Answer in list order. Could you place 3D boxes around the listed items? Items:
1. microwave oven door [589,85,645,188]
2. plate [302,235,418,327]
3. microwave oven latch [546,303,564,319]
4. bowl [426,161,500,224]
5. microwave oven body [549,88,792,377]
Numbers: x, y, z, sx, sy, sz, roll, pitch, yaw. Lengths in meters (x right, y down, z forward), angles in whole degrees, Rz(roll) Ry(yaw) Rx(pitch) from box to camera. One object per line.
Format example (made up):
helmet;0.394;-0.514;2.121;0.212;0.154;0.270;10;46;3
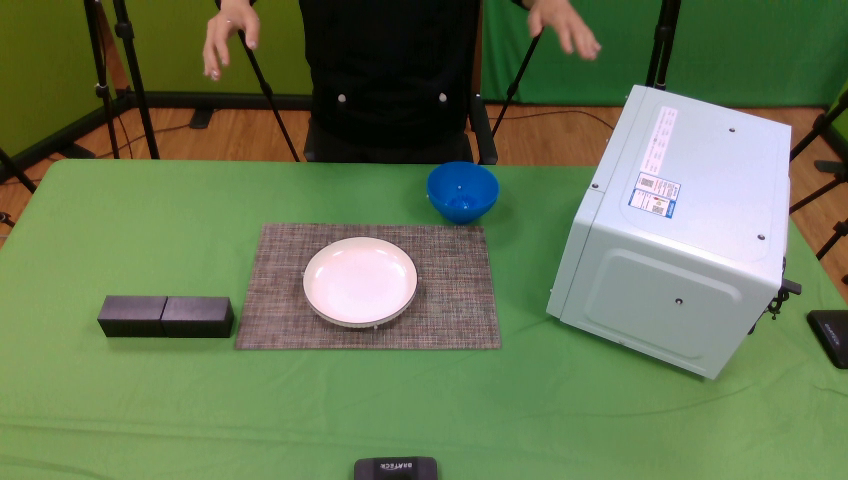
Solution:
microwave oven door;0.341;-0.107;1.149;0.039;0.245;0.354;20;48;15
plate;-0.114;0.077;1.098;0.208;0.039;0.206;2;46;-2
microwave oven latch;0.242;0.102;1.081;0.030;0.029;0.079;21;48;17
bowl;0.077;-0.086;1.248;0.151;0.077;0.150;2;46;-2
microwave oven body;0.456;-0.028;1.088;0.325;0.261;0.440;20;47;16
